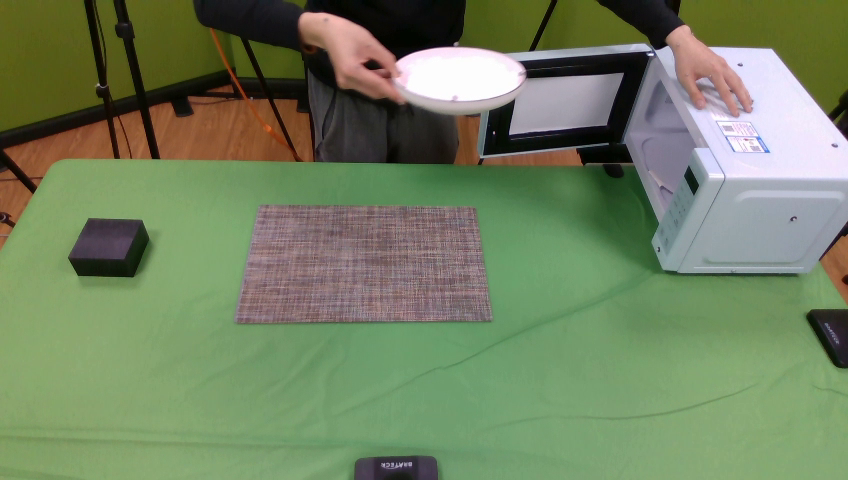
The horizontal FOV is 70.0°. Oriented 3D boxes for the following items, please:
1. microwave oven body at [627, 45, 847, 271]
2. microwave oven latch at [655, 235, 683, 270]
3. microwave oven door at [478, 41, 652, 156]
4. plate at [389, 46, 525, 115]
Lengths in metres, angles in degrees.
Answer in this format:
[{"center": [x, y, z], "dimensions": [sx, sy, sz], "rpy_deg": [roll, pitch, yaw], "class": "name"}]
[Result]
[{"center": [0.619, -0.172, 1.234], "dimensions": [0.326, 0.261, 0.439], "rpy_deg": [0, 46, -3], "class": "microwave oven body"}, {"center": [0.473, 0.022, 1.175], "dimensions": [0.030, 0.029, 0.078], "rpy_deg": [3, 46, 0], "class": "microwave oven latch"}, {"center": [0.304, -0.309, 1.335], "dimensions": [0.356, 0.245, 0.039], "rpy_deg": [-8, 48, -10], "class": "microwave oven door"}, {"center": [0.050, -0.242, 0.930], "dimensions": [0.209, 0.038, 0.208], "rpy_deg": [1, 38, 0], "class": "plate"}]
